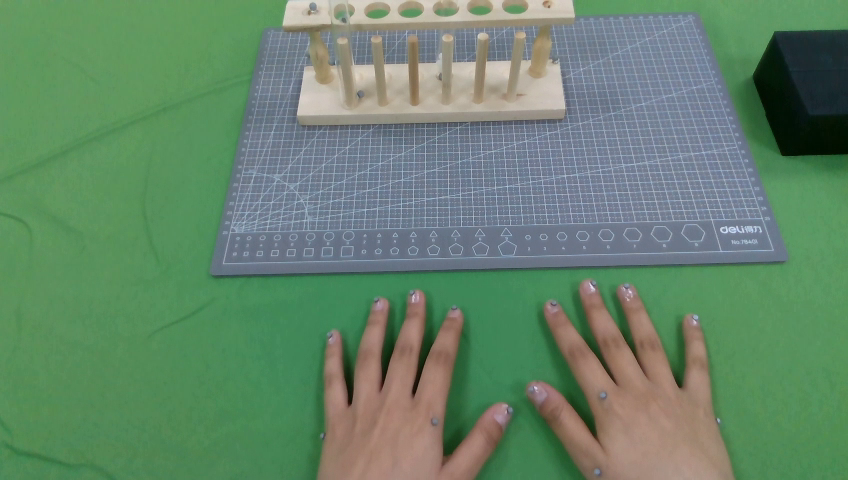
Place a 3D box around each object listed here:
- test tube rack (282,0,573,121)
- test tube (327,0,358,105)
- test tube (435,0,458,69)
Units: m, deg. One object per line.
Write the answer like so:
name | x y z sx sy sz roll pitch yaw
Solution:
test tube rack | 0.004 -0.161 0.536 0.242 0.086 0.066 -1 57 2
test tube | -0.067 -0.169 0.491 0.017 0.152 0.017 1 57 -1
test tube | 0.021 -0.204 0.503 0.017 0.151 0.017 2 55 -2
